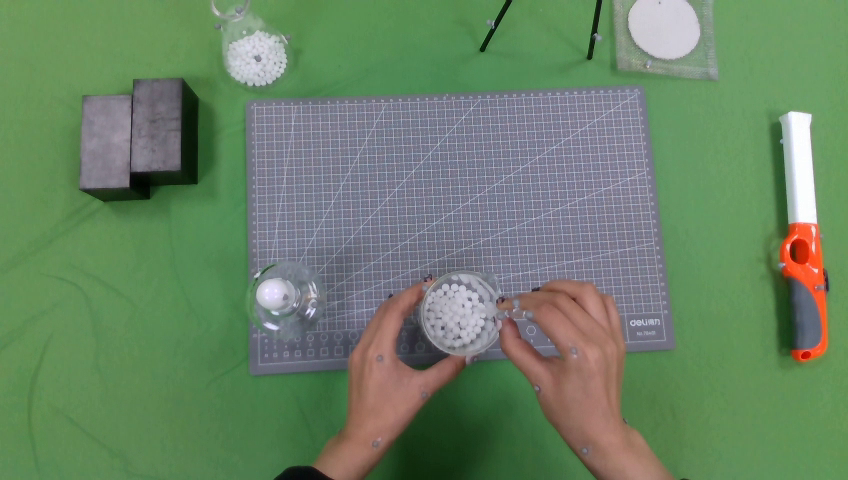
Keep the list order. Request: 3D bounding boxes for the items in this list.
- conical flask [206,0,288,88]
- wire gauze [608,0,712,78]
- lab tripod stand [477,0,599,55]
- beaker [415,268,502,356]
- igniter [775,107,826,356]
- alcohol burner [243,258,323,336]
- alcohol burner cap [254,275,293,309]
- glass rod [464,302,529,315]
[{"bbox_3d":[-0.187,-0.214,0.624,0.075,0.122,0.075,0,80,-2],"label":"conical flask"},{"bbox_3d":[0.278,-0.253,0.710,0.125,0.011,0.121,3,81,-4],"label":"wire gauze"},{"bbox_3d":[0.129,-0.263,0.641,0.148,0.132,0.148,0,83,-2],"label":"lab tripod stand"},{"bbox_3d":[0.030,0.065,0.570,0.074,0.100,0.084,40,82,1],"label":"beaker"},{"bbox_3d":[0.413,-0.012,0.668,0.057,0.025,0.275,4,81,-13],"label":"igniter"},{"bbox_3d":[-0.140,0.053,0.585,0.078,0.119,0.077,0,80,0],"label":"alcohol burner"},{"bbox_3d":[-0.138,0.046,0.550,0.034,0.048,0.034,1,84,-6],"label":"alcohol burner cap"},{"bbox_3d":[0.057,0.057,0.519,0.008,0.199,0.008,1,85,-8],"label":"glass rod"}]
